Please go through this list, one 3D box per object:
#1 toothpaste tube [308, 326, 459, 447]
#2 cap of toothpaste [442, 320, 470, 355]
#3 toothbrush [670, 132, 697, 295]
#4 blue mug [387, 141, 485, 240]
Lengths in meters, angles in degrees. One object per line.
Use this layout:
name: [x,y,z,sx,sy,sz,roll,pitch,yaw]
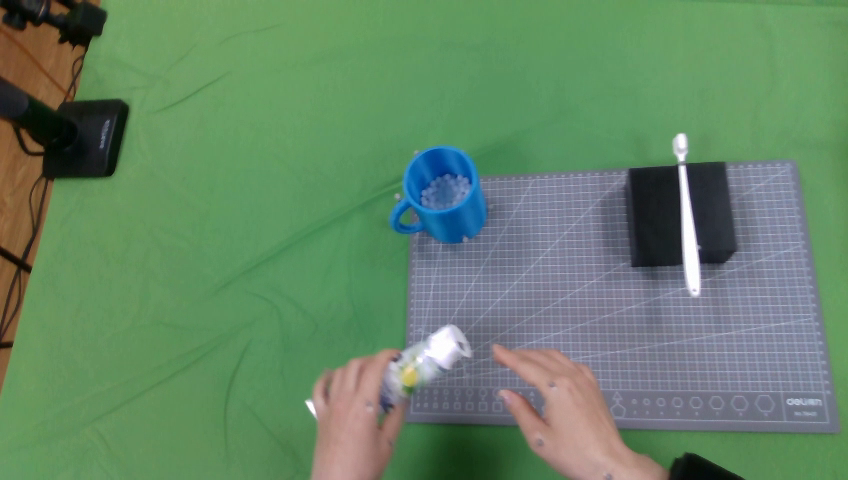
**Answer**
toothpaste tube: [-0.035,0.133,0.573,0.165,0.034,0.055,-35,79,12]
cap of toothpaste: [0.029,0.091,0.556,0.011,0.037,0.037,-34,69,12]
toothbrush: [0.276,-0.032,0.640,0.014,0.017,0.181,1,74,5]
blue mug: [0.011,-0.046,0.701,0.116,0.106,0.081,-29,69,2]
